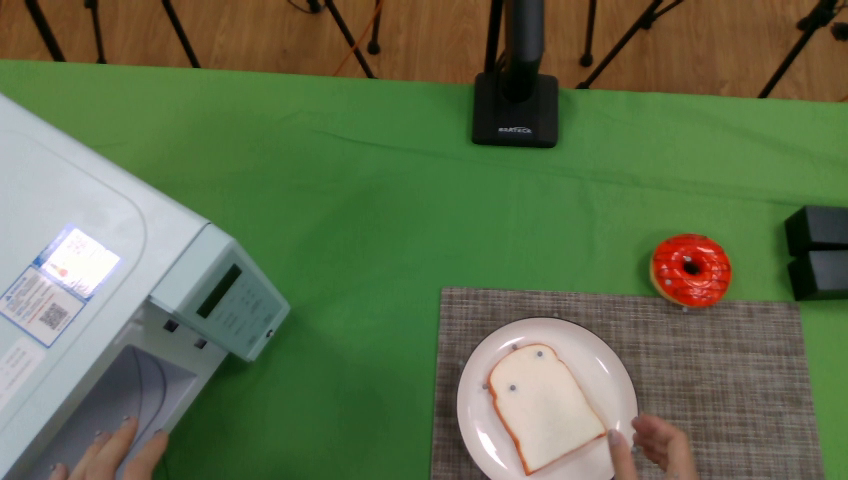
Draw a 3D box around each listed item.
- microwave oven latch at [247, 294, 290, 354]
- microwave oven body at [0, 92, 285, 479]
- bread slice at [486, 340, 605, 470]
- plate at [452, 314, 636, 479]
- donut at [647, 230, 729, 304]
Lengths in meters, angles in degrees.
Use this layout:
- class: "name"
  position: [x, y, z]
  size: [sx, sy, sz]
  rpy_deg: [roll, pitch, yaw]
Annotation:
- class: "microwave oven latch"
  position: [-0.193, 0.095, 0.725]
  size: [0.030, 0.030, 0.079]
  rpy_deg: [32, 74, 11]
- class: "microwave oven body"
  position: [-0.413, 0.131, 0.610]
  size: [0.325, 0.262, 0.440]
  rpy_deg: [30, 73, 10]
- class: "bread slice"
  position: [0.133, 0.185, 0.706]
  size: [0.105, 0.019, 0.130]
  rpy_deg: [-26, 72, -10]
- class: "plate"
  position: [0.136, 0.191, 0.703]
  size: [0.208, 0.039, 0.206]
  rpy_deg: [0, 70, 0]
- class: "donut"
  position: [0.330, 0.034, 0.759]
  size: [0.099, 0.048, 0.098]
  rpy_deg: [-1, 66, 4]
